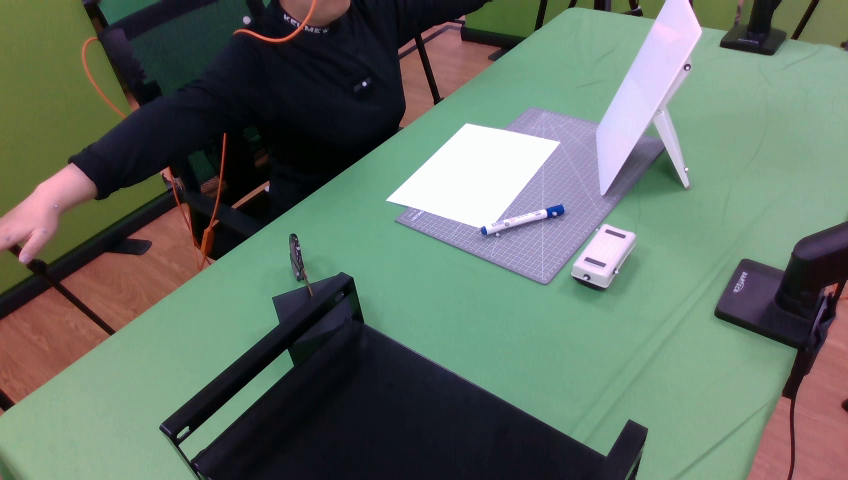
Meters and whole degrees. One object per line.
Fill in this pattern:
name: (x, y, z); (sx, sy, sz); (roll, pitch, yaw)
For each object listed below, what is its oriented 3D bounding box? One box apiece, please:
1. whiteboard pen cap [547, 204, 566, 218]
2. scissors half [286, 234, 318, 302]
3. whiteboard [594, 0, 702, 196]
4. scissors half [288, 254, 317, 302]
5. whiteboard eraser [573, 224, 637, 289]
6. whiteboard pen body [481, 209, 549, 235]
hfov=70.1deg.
whiteboard pen cap: (0.216, -0.046, 0.997); (0.033, 0.018, 0.018); (-18, 41, -10)
scissors half: (-0.178, 0.040, 0.884); (0.013, 0.040, 0.173); (-12, 36, -20)
whiteboard: (0.420, -0.227, 1.010); (0.144, 0.305, 0.216); (18, 42, -2)
scissors half: (-0.178, 0.058, 0.894); (0.013, 0.040, 0.174); (-17, 21, -17)
whiteboard eraser: (0.267, 0.025, 0.890); (0.055, 0.042, 0.113); (19, 47, 31)
whiteboard pen body: (0.160, -0.032, 0.985); (0.141, 0.017, 0.017); (-16, 41, -12)
